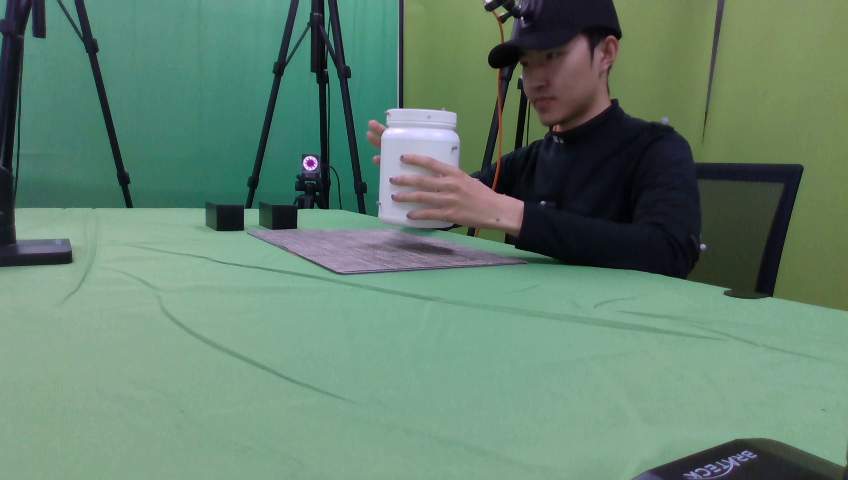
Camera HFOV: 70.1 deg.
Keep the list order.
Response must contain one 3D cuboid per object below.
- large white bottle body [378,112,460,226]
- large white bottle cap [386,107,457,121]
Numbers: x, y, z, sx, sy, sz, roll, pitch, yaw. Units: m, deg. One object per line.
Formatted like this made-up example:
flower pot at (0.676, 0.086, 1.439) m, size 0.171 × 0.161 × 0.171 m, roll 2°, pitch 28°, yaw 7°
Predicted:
large white bottle body at (-0.008, -0.121, 0.994) m, size 0.131 × 0.184 × 0.130 m, roll 2°, pitch 8°, yaw 0°
large white bottle cap at (-0.004, -0.203, 0.982) m, size 0.115 × 0.018 × 0.115 m, roll 2°, pitch 9°, yaw 0°
